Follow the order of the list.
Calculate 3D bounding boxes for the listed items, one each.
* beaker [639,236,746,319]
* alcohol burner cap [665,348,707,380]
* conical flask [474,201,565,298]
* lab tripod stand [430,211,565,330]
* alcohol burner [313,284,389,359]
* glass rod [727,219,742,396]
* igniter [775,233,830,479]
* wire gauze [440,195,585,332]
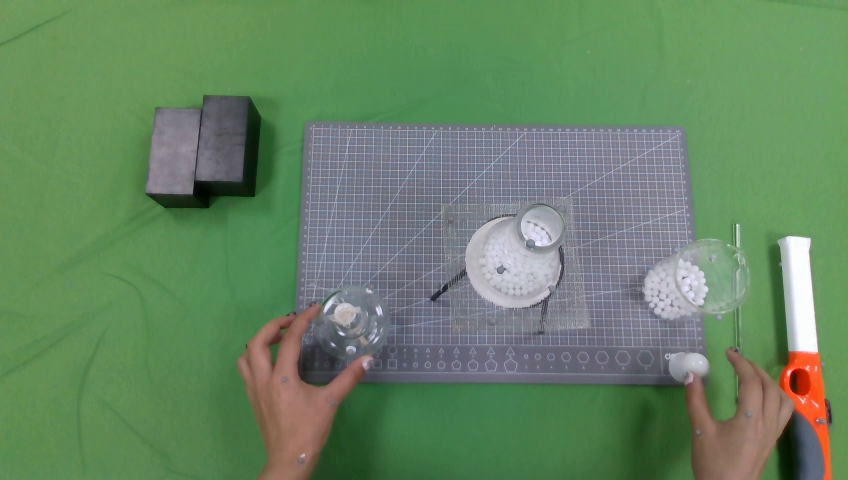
[{"bbox_3d":[0.276,0.042,0.631,0.084,0.100,0.073,-36,80,-9],"label":"beaker"},{"bbox_3d":[0.280,0.130,0.641,0.034,0.048,0.033,0,77,-1],"label":"alcohol burner cap"},{"bbox_3d":[0.082,0.003,0.490,0.075,0.122,0.075,0,77,0],"label":"conical flask"},{"bbox_3d":[0.079,0.033,0.611,0.148,0.132,0.147,0,79,0],"label":"lab tripod stand"},{"bbox_3d":[-0.075,0.079,0.607,0.078,0.119,0.077,0,74,-1],"label":"alcohol burner"},{"bbox_3d":[0.347,0.072,0.676,0.008,0.008,0.198,4,77,0],"label":"glass rod"},{"bbox_3d":[0.406,0.128,0.654,0.057,0.025,0.275,5,77,-10],"label":"igniter"},{"bbox_3d":[0.080,0.021,0.547,0.125,0.011,0.121,-3,79,-4],"label":"wire gauze"}]
